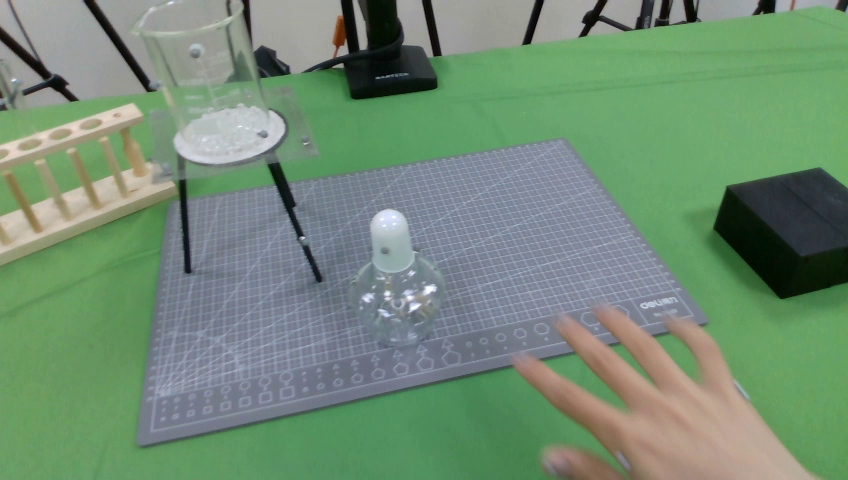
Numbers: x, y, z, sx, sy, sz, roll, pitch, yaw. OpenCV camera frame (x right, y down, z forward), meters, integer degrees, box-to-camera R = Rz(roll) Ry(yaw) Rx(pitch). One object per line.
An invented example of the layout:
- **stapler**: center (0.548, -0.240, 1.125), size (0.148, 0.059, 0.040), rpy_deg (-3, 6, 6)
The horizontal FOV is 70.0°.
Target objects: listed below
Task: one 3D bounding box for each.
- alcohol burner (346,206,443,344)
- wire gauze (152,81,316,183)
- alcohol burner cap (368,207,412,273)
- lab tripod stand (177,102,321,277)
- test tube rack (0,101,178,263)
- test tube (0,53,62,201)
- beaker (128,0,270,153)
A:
- **alcohol burner**: center (-0.024, 0.024, 0.470), size (0.078, 0.120, 0.077), rpy_deg (-1, 40, 2)
- **wire gauze**: center (-0.159, -0.089, 0.492), size (0.125, 0.011, 0.120), rpy_deg (-16, 41, -10)
- **alcohol burner cap**: center (-0.027, -0.003, 0.447), size (0.034, 0.048, 0.033), rpy_deg (-2, 44, 2)
- **lab tripod stand**: center (-0.156, -0.041, 0.536), size (0.148, 0.133, 0.147), rpy_deg (-2, 44, 2)
- **test tube rack**: center (-0.385, -0.049, 0.599), size (0.242, 0.086, 0.066), rpy_deg (-28, 47, -25)
- **test tube**: center (-0.382, -0.104, 0.585), size (0.017, 0.151, 0.017), rpy_deg (0, 35, 0)
- **beaker**: center (-0.163, -0.123, 0.456), size (0.084, 0.101, 0.073), rpy_deg (-9, 42, -5)
